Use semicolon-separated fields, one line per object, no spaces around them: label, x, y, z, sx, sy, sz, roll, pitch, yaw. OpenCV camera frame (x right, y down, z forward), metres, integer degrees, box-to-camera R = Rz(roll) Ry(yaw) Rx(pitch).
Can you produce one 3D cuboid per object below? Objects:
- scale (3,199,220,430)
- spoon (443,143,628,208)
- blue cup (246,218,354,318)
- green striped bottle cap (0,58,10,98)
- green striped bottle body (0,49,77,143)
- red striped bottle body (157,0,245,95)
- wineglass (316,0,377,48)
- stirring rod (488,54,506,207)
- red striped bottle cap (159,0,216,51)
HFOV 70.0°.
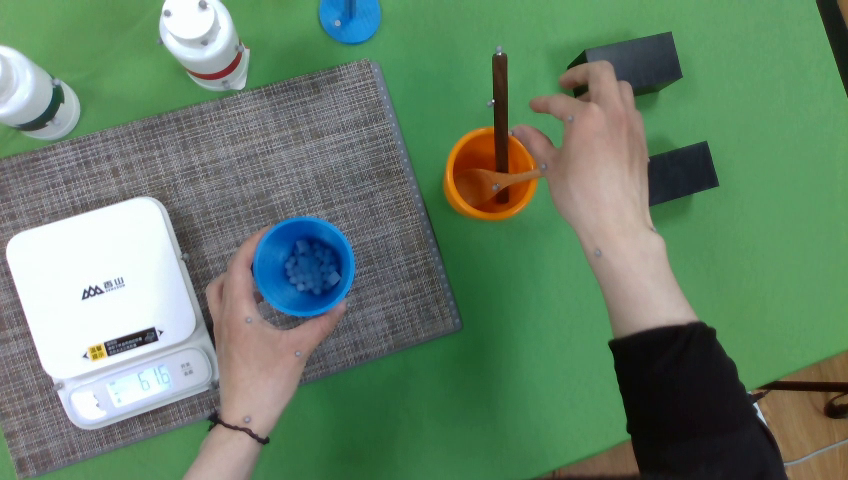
scale;-0.298;0.071;0.584;0.149;0.031;0.201;-19;91;-8
spoon;0.102;-0.063;0.590;0.021;0.193;0.042;-41;115;-49
blue cup;-0.107;0.027;0.559;0.093;0.100;0.092;0;86;-6
green striped bottle cap;-0.360;-0.133;0.486;0.044;0.020;0.044;0;88;-6
green striped bottle body;-0.368;-0.129;0.542;0.063;0.119;0.063;0;87;-8
red striped bottle body;-0.207;-0.183;0.566;0.063;0.119;0.063;0;87;-8
wineglass;-0.072;-0.241;0.560;0.074;0.172;0.073;0;87;-7
stirring rod;0.071;-0.098;0.586;0.014;0.178;0.005;-1;46;7
red striped bottle cap;-0.200;-0.185;0.513;0.044;0.018;0.044;1;85;-7
